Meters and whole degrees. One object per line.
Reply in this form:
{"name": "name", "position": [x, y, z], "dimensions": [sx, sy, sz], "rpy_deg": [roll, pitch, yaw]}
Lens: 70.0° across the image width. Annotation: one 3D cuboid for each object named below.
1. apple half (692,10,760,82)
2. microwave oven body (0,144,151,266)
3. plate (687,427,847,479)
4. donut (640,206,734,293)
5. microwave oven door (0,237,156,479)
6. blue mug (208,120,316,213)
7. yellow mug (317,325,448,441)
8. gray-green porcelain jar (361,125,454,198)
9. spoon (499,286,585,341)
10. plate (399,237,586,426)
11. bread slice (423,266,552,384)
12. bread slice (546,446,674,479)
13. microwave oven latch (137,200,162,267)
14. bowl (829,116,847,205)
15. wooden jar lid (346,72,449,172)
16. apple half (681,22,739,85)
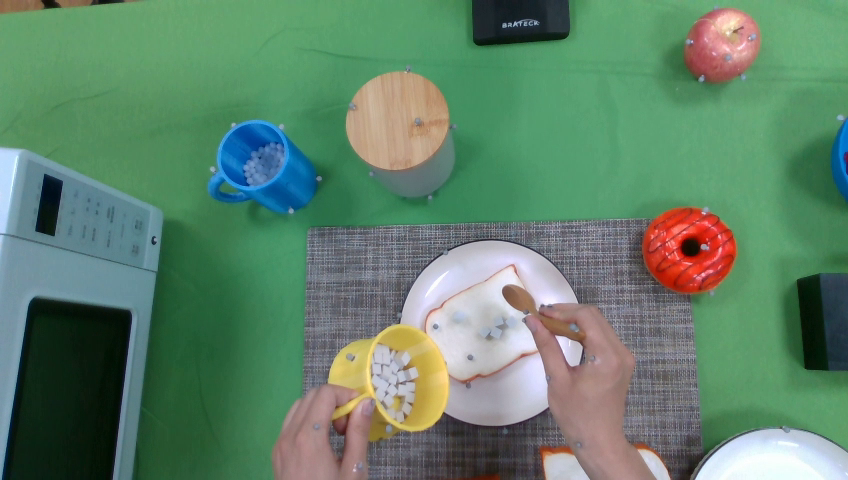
{"name": "apple half", "position": [0.350, -0.227, 0.698], "dimensions": [0.053, 0.075, 0.080], "rpy_deg": [-33, 74, -5]}
{"name": "microwave oven body", "position": [-0.509, 0.144, 0.632], "dimensions": [0.326, 0.261, 0.440], "rpy_deg": [2, 81, 6]}
{"name": "plate", "position": [0.366, 0.297, 0.623], "dimensions": [0.209, 0.038, 0.208], "rpy_deg": [-1, 80, 7]}
{"name": "donut", "position": [0.291, 0.011, 0.674], "dimensions": [0.099, 0.048, 0.098], "rpy_deg": [-1, 81, 7]}
{"name": "microwave oven door", "position": [-0.367, 0.190, 0.603], "dimensions": [0.039, 0.245, 0.354], "rpy_deg": [2, 80, 7]}
{"name": "blue mug", "position": [-0.197, -0.076, 0.718], "dimensions": [0.116, 0.106, 0.082], "rpy_deg": [-27, 77, 2]}
{"name": "yellow mug", "position": [-0.045, 0.141, 0.572], "dimensions": [0.064, 0.131, 0.099], "rpy_deg": [-28, 84, 43]}
{"name": "gray-green porcelain jar", "position": [-0.020, -0.109, 0.693], "dimensions": [0.106, 0.127, 0.105], "rpy_deg": [-1, 79, 7]}
{"name": "spoon", "position": [0.107, 0.071, 0.568], "dimensions": [0.021, 0.193, 0.042], "rpy_deg": [-39, 99, -2]}
{"name": "plate", "position": [0.076, 0.102, 0.686], "dimensions": [0.207, 0.039, 0.207], "rpy_deg": [-1, 80, 7]}
{"name": "bread slice", "position": [0.066, 0.104, 0.690], "dimensions": [0.131, 0.019, 0.104], "rpy_deg": [-27, 77, -1]}
{"name": "bread slice", "position": [0.199, 0.270, 0.620], "dimensions": [0.135, 0.018, 0.106], "rpy_deg": [-5, 76, -14]}
{"name": "microwave oven latch", "position": [-0.341, -0.008, 0.738], "dimensions": [0.030, 0.029, 0.079], "rpy_deg": [4, 81, 7]}
{"name": "bowl", "position": [0.504, -0.078, 0.652], "dimensions": [0.151, 0.077, 0.151], "rpy_deg": [-1, 80, 7]}
{"name": "wooden jar lid", "position": [-0.027, -0.121, 0.632], "dimensions": [0.108, 0.021, 0.108], "rpy_deg": [-1, 78, 7]}
{"name": "apple half", "position": [0.319, -0.204, 0.696], "dimensions": [0.033, 0.081, 0.081], "rpy_deg": [-33, 77, -5]}
